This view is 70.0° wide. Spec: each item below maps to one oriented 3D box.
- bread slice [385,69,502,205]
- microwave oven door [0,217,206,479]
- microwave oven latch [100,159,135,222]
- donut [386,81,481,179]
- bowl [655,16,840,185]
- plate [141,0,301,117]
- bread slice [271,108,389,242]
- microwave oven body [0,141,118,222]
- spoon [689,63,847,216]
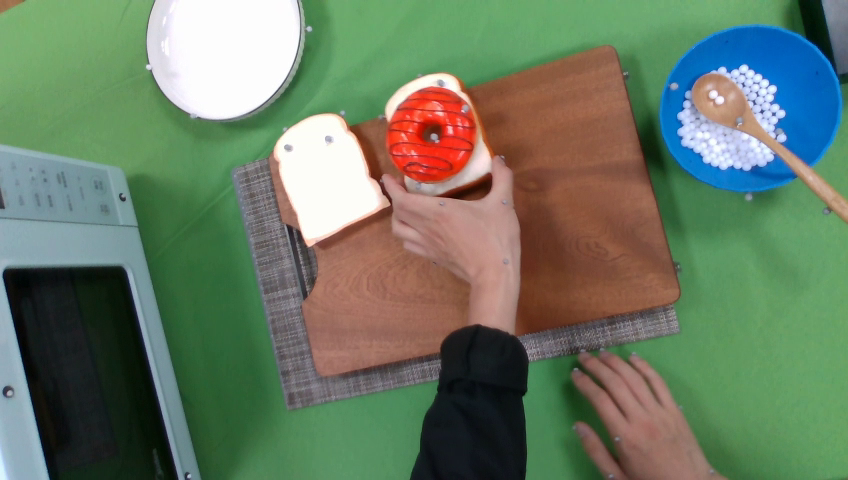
[{"bbox_3d":[0.011,-0.114,0.643,0.105,0.019,0.131,-21,82,10],"label":"bread slice"},{"bbox_3d":[-0.351,0.151,0.632,0.039,0.244,0.355,-17,86,14],"label":"microwave oven door"},{"bbox_3d":[-0.384,-0.058,0.745,0.030,0.029,0.079,-16,87,13],"label":"microwave oven latch"},{"bbox_3d":[0.009,-0.111,0.611,0.099,0.048,0.099,-2,84,15],"label":"donut"},{"bbox_3d":[0.294,-0.123,0.573,0.151,0.077,0.151,0,90,14],"label":"bowl"},{"bbox_3d":[-0.239,-0.249,0.727,0.207,0.039,0.207,0,90,14],"label":"plate"},{"bbox_3d":[-0.113,-0.077,0.675,0.107,0.018,0.134,-29,82,12],"label":"bread slice"},{"bbox_3d":[-0.497,0.153,0.674,0.325,0.261,0.441,-17,87,13],"label":"microwave oven body"},{"bbox_3d":[0.310,-0.088,0.537,0.041,0.022,0.192,-42,63,15],"label":"spoon"}]
